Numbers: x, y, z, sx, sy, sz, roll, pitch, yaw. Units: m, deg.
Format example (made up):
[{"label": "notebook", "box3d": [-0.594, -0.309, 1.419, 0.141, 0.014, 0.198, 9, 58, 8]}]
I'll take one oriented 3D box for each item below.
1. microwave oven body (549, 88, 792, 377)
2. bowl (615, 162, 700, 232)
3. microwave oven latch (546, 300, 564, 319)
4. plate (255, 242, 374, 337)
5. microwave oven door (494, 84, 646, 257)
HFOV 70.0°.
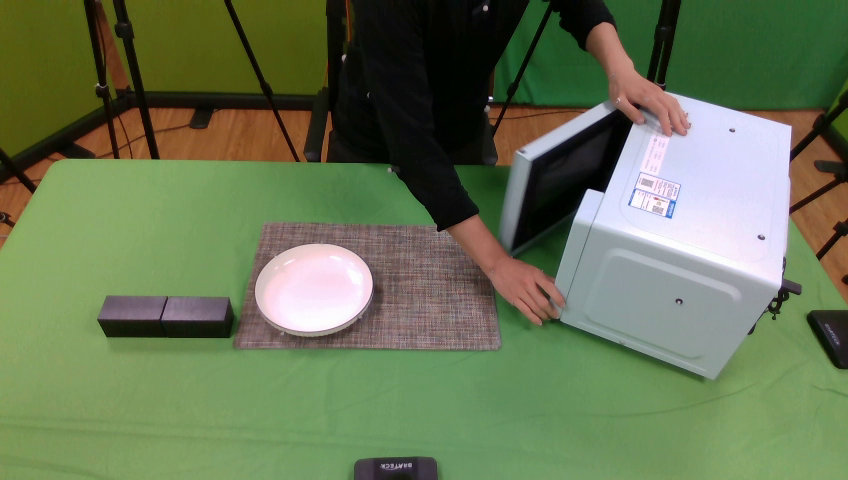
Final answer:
[{"label": "microwave oven body", "box3d": [0.456, -0.028, 1.088, 0.325, 0.261, 0.440, 20, 47, 16]}, {"label": "bowl", "box3d": [0.435, -0.069, 1.150, 0.151, 0.077, 0.150, -4, 50, 5]}, {"label": "microwave oven latch", "box3d": [0.244, 0.104, 1.079, 0.030, 0.029, 0.079, 25, 49, 20]}, {"label": "plate", "box3d": [-0.192, 0.090, 1.079, 0.208, 0.039, 0.206, 2, 46, -2]}, {"label": "microwave oven door", "box3d": [0.286, -0.139, 1.176, 0.356, 0.245, 0.039, -31, 56, -29]}]
